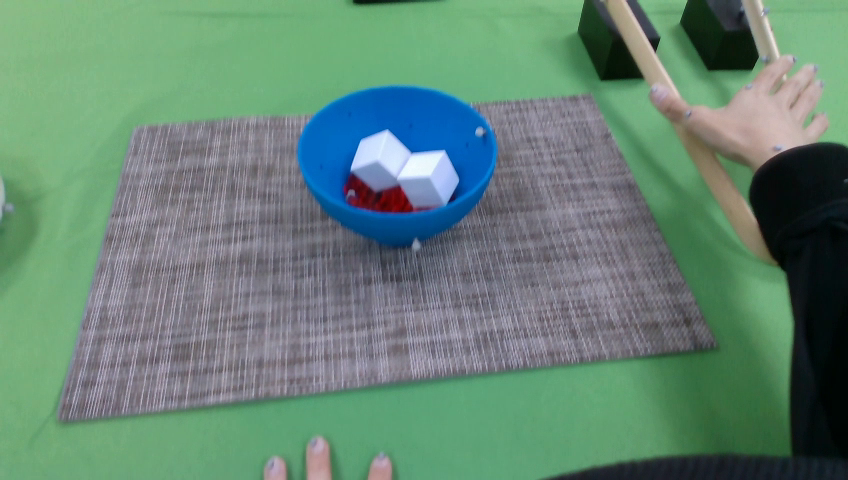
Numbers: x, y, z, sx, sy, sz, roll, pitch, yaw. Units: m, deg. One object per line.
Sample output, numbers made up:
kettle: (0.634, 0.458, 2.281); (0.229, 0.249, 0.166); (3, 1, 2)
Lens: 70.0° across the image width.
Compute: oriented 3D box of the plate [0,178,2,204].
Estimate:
plate: (-0.435, -0.008, 0.464); (0.209, 0.038, 0.207); (1, 51, -1)

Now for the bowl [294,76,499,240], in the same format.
bowl: (-0.022, -0.053, 0.480); (0.151, 0.077, 0.150); (1, 50, -1)

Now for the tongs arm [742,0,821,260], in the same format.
tongs arm: (0.310, -0.157, 0.568); (0.051, 0.027, 0.381); (2, 62, -2)

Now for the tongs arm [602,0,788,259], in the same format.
tongs arm: (0.222, -0.151, 0.563); (0.028, 0.028, 0.384); (-10, 63, -12)
